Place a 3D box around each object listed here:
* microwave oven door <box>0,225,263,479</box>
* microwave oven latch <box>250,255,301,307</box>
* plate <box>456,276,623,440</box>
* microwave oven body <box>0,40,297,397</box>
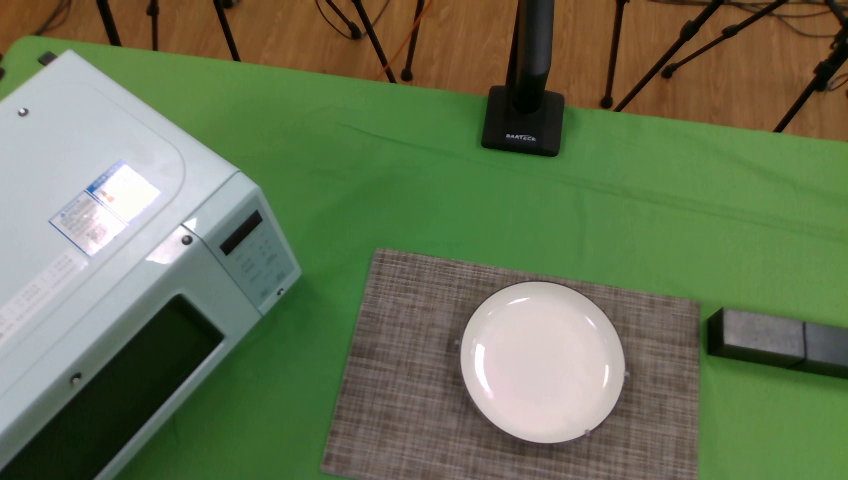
[{"bbox_3d":[-0.333,0.164,0.637,0.039,0.245,0.355,34,70,15],"label":"microwave oven door"},{"bbox_3d":[-0.198,0.049,0.801,0.030,0.030,0.079,36,71,15],"label":"microwave oven latch"},{"bbox_3d":[0.144,0.149,0.771,0.208,0.039,0.206,0,66,0],"label":"plate"},{"bbox_3d":[-0.424,0.056,0.691,0.324,0.262,0.440,35,71,14],"label":"microwave oven body"}]
